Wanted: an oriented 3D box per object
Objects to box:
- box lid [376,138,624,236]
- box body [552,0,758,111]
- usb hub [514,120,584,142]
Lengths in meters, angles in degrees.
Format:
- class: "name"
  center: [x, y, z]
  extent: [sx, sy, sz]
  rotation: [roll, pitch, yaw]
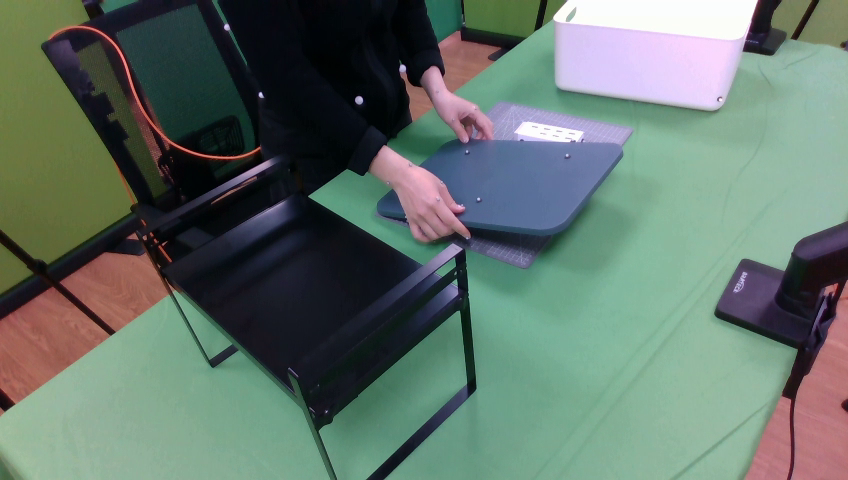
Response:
- class: "box lid"
  center: [0.118, -0.103, 1.021]
  extent: [0.368, 0.015, 0.264]
  rotation: [10, 41, 38]
- class: "box body"
  center: [0.480, -0.417, 1.282]
  extent: [0.362, 0.161, 0.254]
  rotation: [16, 46, 25]
- class: "usb hub"
  center: [0.240, -0.200, 1.165]
  extent: [0.124, 0.025, 0.049]
  rotation: [17, 46, 26]
